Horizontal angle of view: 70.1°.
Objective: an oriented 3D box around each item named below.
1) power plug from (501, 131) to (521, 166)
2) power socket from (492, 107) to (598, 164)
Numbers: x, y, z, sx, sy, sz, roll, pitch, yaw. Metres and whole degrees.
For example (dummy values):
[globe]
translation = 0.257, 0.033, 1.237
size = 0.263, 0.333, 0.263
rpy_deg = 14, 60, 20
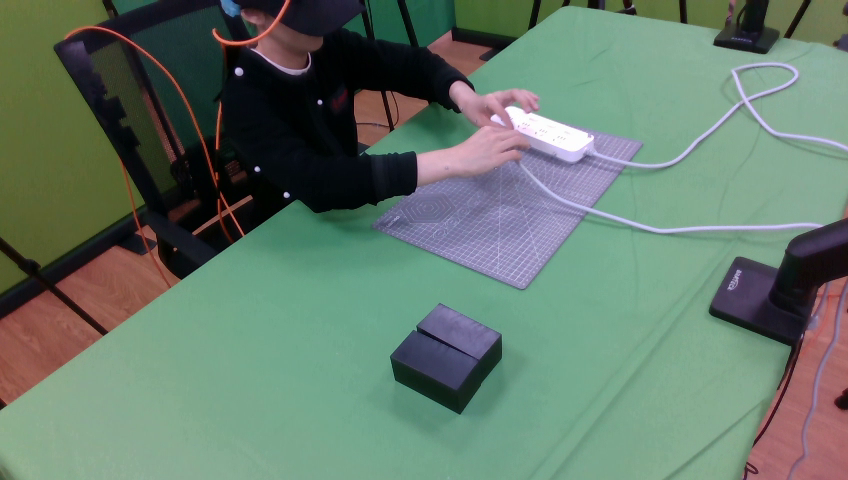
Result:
[power plug]
translation = 0.153, -0.156, 1.055
size = 0.035, 0.053, 0.072
rpy_deg = -6, 78, 25
[power socket]
translation = 0.227, -0.205, 1.169
size = 0.072, 0.033, 0.225
rpy_deg = -36, 48, -28
